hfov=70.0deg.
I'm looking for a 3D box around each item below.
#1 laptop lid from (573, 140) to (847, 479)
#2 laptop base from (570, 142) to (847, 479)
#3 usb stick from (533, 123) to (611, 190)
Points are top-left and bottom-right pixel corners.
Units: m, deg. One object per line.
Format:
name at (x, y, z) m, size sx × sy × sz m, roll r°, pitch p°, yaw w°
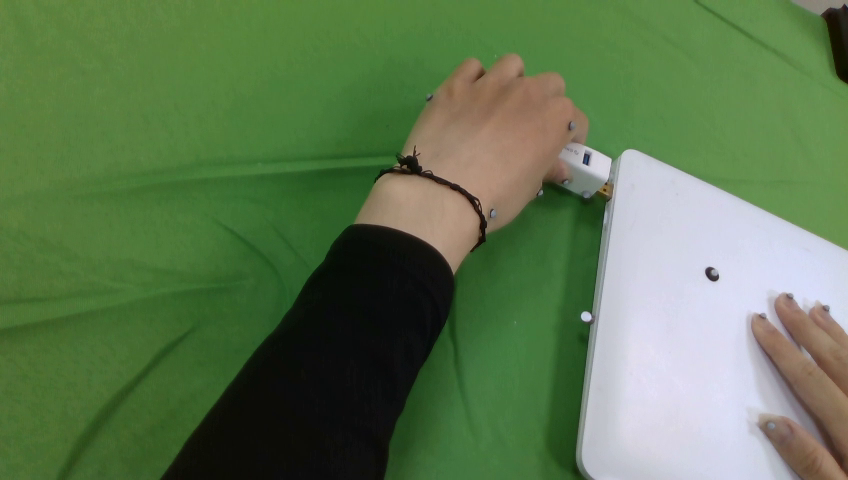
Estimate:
laptop lid at (0.267, 0.088, 0.399) m, size 0.358 × 0.013 × 0.240 m, roll 24°, pitch 60°, yaw -8°
laptop base at (0.264, 0.092, 0.410) m, size 0.355 × 0.023 × 0.234 m, roll 23°, pitch 61°, yaw -9°
usb stick at (0.104, -0.052, 0.403) m, size 0.059 × 0.027 × 0.021 m, roll 24°, pitch 52°, yaw -11°
